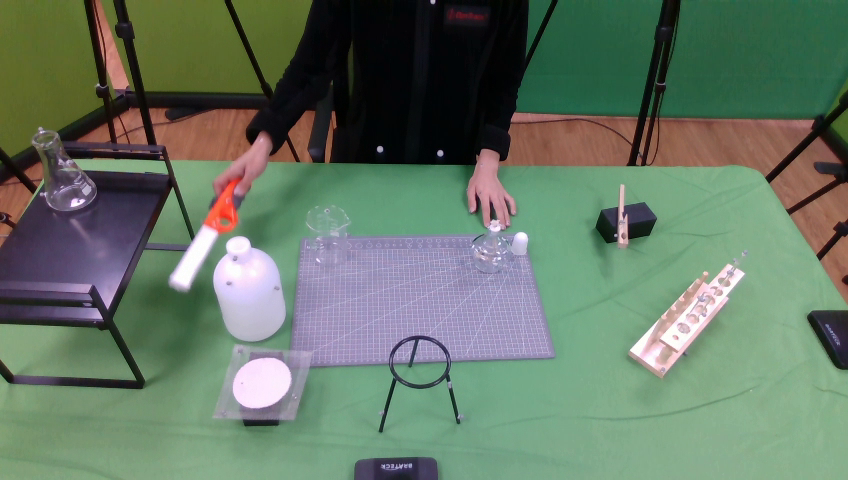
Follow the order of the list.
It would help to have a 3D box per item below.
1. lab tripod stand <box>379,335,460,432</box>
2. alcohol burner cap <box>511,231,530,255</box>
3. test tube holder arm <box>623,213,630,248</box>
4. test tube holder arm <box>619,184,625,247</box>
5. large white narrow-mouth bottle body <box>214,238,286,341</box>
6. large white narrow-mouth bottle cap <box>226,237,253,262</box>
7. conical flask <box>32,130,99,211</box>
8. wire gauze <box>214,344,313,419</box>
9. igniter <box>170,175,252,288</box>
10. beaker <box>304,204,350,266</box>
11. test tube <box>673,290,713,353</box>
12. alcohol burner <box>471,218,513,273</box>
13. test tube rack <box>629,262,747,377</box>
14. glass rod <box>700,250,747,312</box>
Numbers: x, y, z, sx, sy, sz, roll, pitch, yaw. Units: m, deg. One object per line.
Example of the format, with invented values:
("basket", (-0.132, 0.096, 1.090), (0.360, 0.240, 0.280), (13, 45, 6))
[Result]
("lab tripod stand", (-0.011, 0.214, 0.911), (0.148, 0.132, 0.147), (1, 45, 0))
("alcohol burner cap", (0.191, 0.003, 1.188), (0.034, 0.048, 0.033), (2, 46, -2))
("test tube holder arm", (0.393, -0.020, 1.179), (0.010, 0.015, 0.087), (14, 46, 1))
("test tube holder arm", (0.396, -0.053, 1.210), (0.013, 0.015, 0.177), (14, 46, 2))
("large white narrow-mouth bottle body", (-0.285, 0.073, 0.986), (0.102, 0.195, 0.101), (2, 46, -2))
("large white narrow-mouth bottle cap", (-0.281, 0.014, 0.923), (0.038, 0.024, 0.037), (2, 46, -2))
("conical flask", (-0.565, -0.110, 0.944), (0.075, 0.122, 0.075), (2, 46, -2))
("wire gauze", (-0.241, 0.213, 0.915), (0.121, 0.011, 0.124), (5, 46, 1))
("igniter", (-0.372, -0.025, 1.075), (0.057, 0.025, 0.275), (28, 44, -13))
("beaker", (-0.178, -0.006, 1.132), (0.084, 0.101, 0.073), (4, 46, -1))
("test tube", (0.429, 0.135, 0.981), (0.017, 0.151, 0.017), (4, 44, -4))
("alcohol burner", (0.128, 0.005, 1.132), (0.078, 0.120, 0.077), (0, 47, 0))
("test tube rack", (0.464, 0.126, 1.060), (0.242, 0.085, 0.066), (-34, 56, -31))
("glass rod", (0.500, 0.075, 1.021), (0.008, 0.201, 0.008), (0, 54, 1))
